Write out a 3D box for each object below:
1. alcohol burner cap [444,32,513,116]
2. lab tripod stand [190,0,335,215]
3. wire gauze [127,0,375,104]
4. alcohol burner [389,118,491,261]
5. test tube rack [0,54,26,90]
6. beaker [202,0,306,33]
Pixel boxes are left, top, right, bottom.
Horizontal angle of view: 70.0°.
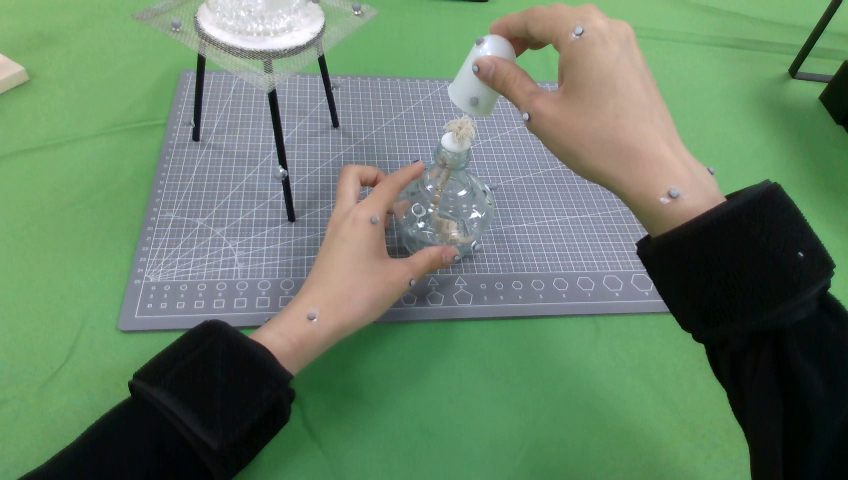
[{"bbox_3d":[0.036,-0.103,0.369,0.034,0.048,0.033,15,47,-16],"label":"alcohol burner cap"},{"bbox_3d":[-0.121,-0.114,0.471,0.149,0.132,0.147,6,50,-6],"label":"lab tripod stand"},{"bbox_3d":[-0.116,-0.156,0.422,0.124,0.011,0.121,32,55,13],"label":"wire gauze"},{"bbox_3d":[0.014,-0.040,0.443,0.078,0.120,0.077,5,48,-6],"label":"alcohol burner"},{"bbox_3d":[-0.451,-0.119,0.460,0.066,0.086,0.241,29,52,16],"label":"test tube rack"},{"bbox_3d":[-0.115,-0.192,0.388,0.073,0.101,0.084,37,56,20],"label":"beaker"}]
